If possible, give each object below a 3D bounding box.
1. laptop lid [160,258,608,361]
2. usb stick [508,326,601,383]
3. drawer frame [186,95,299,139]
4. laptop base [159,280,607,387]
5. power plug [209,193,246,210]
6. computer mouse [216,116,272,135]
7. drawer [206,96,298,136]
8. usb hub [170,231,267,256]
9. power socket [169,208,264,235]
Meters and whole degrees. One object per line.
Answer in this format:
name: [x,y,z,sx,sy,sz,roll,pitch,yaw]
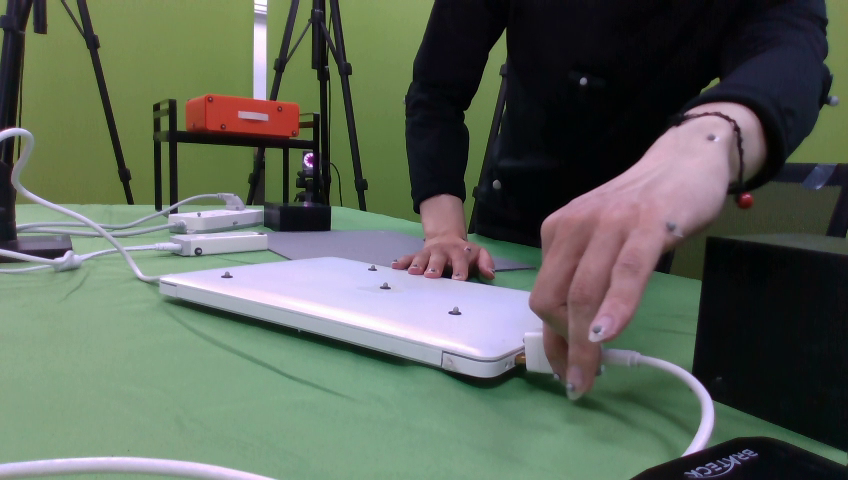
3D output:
laptop lid: [-0.038,0.047,0.554,0.355,0.013,0.243,8,7,35]
usb stick: [0.080,0.070,0.380,0.059,0.027,0.021,0,8,40]
drawer frame: [-0.417,-0.277,1.378,0.203,0.082,0.212,-3,8,-32]
laptop base: [-0.040,0.061,0.555,0.352,0.023,0.237,8,7,34]
power plug: [-0.389,-0.067,1.205,0.072,0.052,0.035,3,8,26]
computer mouse: [-0.402,-0.257,1.353,0.118,0.041,0.062,-6,15,-35]
drawer: [-0.414,-0.275,1.375,0.195,0.073,0.210,-3,8,-31]
usb hub: [-0.290,0.005,0.862,0.049,0.025,0.126,10,11,42]
power socket: [-0.381,-0.038,1.128,0.072,0.032,0.227,4,8,16]
